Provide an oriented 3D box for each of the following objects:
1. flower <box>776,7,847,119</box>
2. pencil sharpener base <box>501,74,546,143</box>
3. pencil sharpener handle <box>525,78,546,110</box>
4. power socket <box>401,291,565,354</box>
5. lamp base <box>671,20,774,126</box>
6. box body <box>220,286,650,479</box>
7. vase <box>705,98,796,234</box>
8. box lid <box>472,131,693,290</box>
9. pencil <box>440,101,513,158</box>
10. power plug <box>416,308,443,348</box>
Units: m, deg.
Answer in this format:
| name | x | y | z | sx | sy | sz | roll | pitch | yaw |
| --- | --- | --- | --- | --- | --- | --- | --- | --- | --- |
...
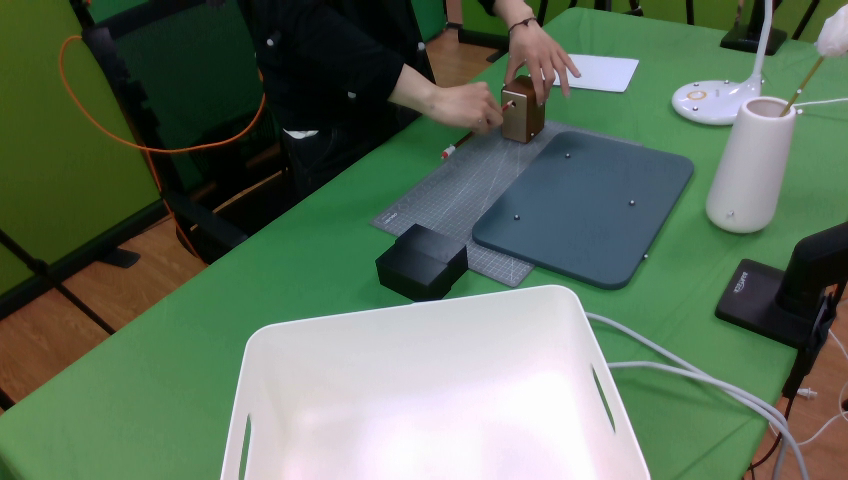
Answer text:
| name | x | y | z | sx | sy | sz | roll | pitch | yaw |
| --- | --- | --- | --- | --- | --- | --- | --- | --- | --- |
| flower | 0.476 | -0.156 | 0.822 | 0.038 | 0.362 | 0.044 | 7 | 57 | 2 |
| pencil sharpener base | 0.194 | -0.256 | 1.174 | 0.061 | 0.107 | 0.077 | 21 | 48 | 31 |
| pencil sharpener handle | 0.225 | -0.293 | 1.194 | 0.035 | 0.068 | 0.031 | 13 | 43 | 38 |
| power socket | 0.079 | 0.111 | 0.823 | 0.227 | 0.033 | 0.072 | -5 | 41 | 1 |
| lamp base | 0.581 | -0.332 | 1.154 | 0.179 | 0.181 | 0.160 | 2 | 41 | 7 |
| box body | 0.006 | 0.210 | 0.618 | 0.364 | 0.161 | 0.252 | -8 | 40 | -1 |
| vase | 0.480 | -0.104 | 0.889 | 0.098 | 0.201 | 0.097 | -4 | 42 | 4 |
| box lid | 0.273 | -0.068 | 1.020 | 0.261 | 0.015 | 0.372 | 20 | 47 | 28 |
| pencil | 0.096 | -0.197 | 1.058 | 0.012 | 0.012 | 0.194 | 29 | 57 | 35 |
| power plug | 0.005 | 0.121 | 0.787 | 0.035 | 0.053 | 0.072 | 2 | 46 | 8 |
